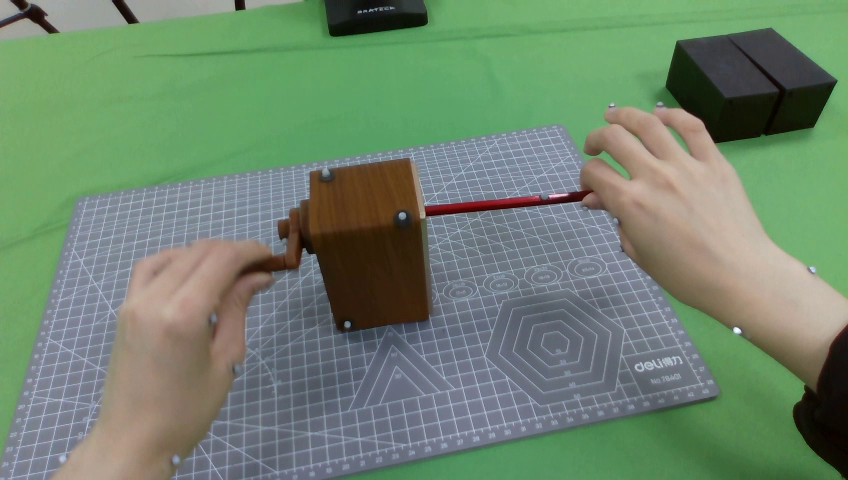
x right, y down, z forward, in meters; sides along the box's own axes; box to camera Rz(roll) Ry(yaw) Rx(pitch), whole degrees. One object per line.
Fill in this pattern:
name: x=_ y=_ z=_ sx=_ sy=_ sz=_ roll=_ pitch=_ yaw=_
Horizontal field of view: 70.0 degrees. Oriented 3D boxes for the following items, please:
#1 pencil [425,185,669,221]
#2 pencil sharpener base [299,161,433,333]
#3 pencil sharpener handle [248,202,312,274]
pencil: x=0.069 y=-0.023 z=0.402 sx=0.194 sy=0.012 sz=0.012 roll=-6 pitch=46 yaw=-6
pencil sharpener base: x=-0.037 y=0.008 z=0.411 sx=0.077 sy=0.108 sz=0.060 roll=-8 pitch=47 yaw=-3
pencil sharpener handle: x=-0.088 y=0.002 z=0.373 sx=0.031 sy=0.036 sz=0.067 roll=-8 pitch=23 yaw=-3
